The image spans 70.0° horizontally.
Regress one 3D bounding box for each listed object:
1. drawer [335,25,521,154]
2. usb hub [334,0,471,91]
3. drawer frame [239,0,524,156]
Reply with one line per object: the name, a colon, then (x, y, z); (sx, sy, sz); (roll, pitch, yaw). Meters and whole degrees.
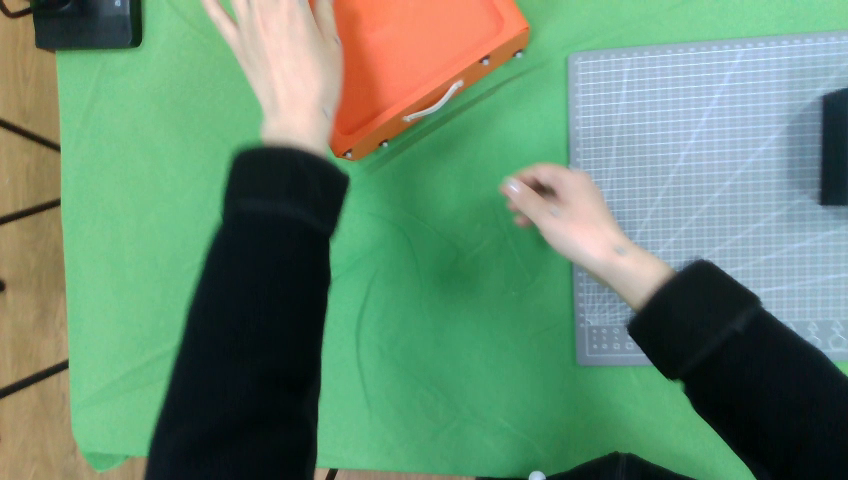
drawer: (-0.047, -0.218, 0.556); (0.194, 0.073, 0.211); (-32, 89, 9)
usb hub: (-0.021, -0.197, 0.570); (0.125, 0.025, 0.049); (-32, 90, 10)
drawer frame: (-0.050, -0.219, 0.554); (0.201, 0.083, 0.213); (-33, 89, 9)
